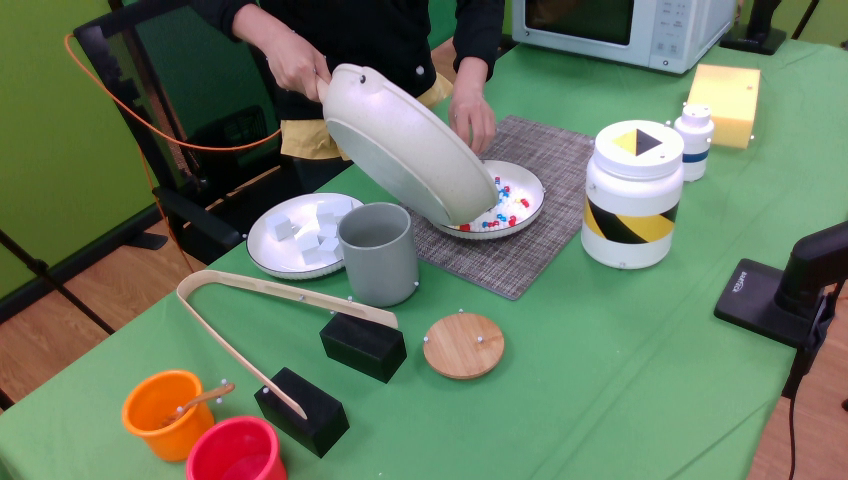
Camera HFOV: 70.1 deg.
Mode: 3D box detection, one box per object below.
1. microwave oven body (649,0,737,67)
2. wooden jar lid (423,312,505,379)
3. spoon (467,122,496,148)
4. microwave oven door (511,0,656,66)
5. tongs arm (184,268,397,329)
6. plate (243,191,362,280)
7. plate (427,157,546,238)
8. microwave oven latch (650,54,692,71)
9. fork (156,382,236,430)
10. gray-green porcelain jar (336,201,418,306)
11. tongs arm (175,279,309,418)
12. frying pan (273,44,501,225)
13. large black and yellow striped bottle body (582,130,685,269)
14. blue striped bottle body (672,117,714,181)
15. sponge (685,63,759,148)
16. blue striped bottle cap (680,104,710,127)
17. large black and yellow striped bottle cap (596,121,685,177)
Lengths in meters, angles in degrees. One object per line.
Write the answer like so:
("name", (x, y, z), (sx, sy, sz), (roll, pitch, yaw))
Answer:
("microwave oven body", (0.475, -0.602, 1.411), (0.438, 0.261, 0.327), (23, 50, 32))
("wooden jar lid", (0.053, 0.142, 0.800), (0.108, 0.021, 0.108), (-5, 39, 4))
("spoon", (0.059, -0.146, 0.999), (0.041, 0.022, 0.194), (35, 55, 20))
("microwave oven door", (0.351, -0.540, 1.349), (0.353, 0.245, 0.039), (24, 50, 31))
("tongs arm", (-0.203, 0.084, 0.847), (0.382, 0.027, 0.051), (11, 44, 34))
("plate", (-0.187, -0.005, 0.992), (0.207, 0.039, 0.206), (-3, 41, 3))
("plate", (0.099, -0.068, 1.017), (0.209, 0.038, 0.208), (-4, 41, 4))
("microwave oven latch", (0.531, -0.386, 1.301), (0.078, 0.029, 0.030), (24, 50, 32))
("fork", (-0.262, 0.189, 0.690), (0.018, 0.206, 0.028), (49, 43, -7))
("gray-green porcelain jar", (-0.064, 0.024, 0.872), (0.106, 0.127, 0.105), (-4, 40, 4))
("tongs arm", (-0.255, 0.132, 0.800), (0.028, 0.028, 0.384), (-41, 40, -23))
("frying pan", (-0.092, -0.179, 0.900), (0.103, 0.309, 0.484), (-44, 58, -4))
("large black and yellow striped bottle body", (0.301, -0.064, 0.877), (0.131, 0.185, 0.130), (-4, 41, 4))
("blue striped bottle body", (0.449, -0.165, 1.022), (0.063, 0.121, 0.063), (-5, 41, 4))
("sponge", (0.569, -0.263, 1.164), (0.117, 0.061, 0.207), (12, 45, 22))
("blue striped bottle cap", (0.443, -0.205, 0.989), (0.044, 0.021, 0.044), (-1, 41, 2))
("large black and yellow striped bottle cap", (0.293, -0.126, 0.821), (0.115, 0.019, 0.114), (-5, 40, 4))
